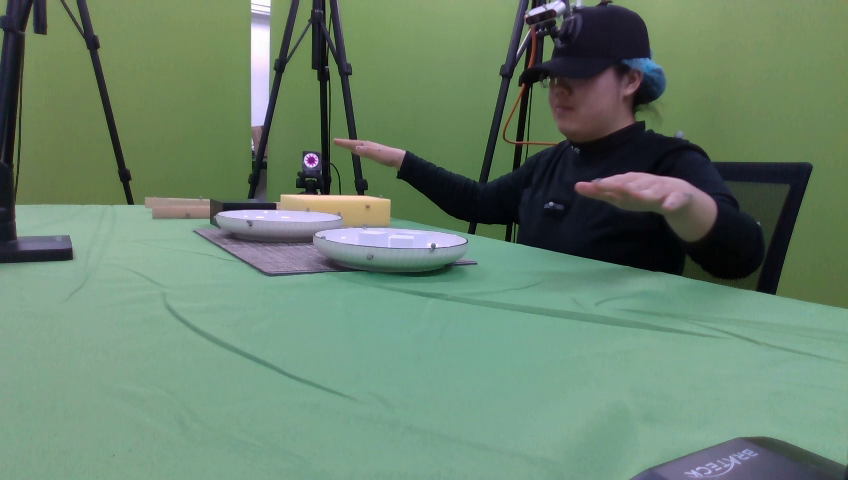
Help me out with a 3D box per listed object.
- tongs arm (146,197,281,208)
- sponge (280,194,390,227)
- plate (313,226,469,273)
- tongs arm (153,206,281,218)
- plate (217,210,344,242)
[{"bbox_3d":[-0.437,-0.079,1.415,0.387,0.026,0.050,1,8,-25],"label":"tongs arm"},{"bbox_3d":[-0.188,-0.064,1.291,0.208,0.061,0.117,-2,9,-35],"label":"sponge"},{"bbox_3d":[-0.044,0.012,0.807,0.209,0.038,0.209,2,7,0],"label":"plate"},{"bbox_3d":[-0.397,-0.064,1.345,0.390,0.028,0.028,-3,7,-38],"label":"tongs arm"},{"bbox_3d":[-0.241,-0.024,1.026,0.208,0.039,0.207,3,7,0],"label":"plate"}]
